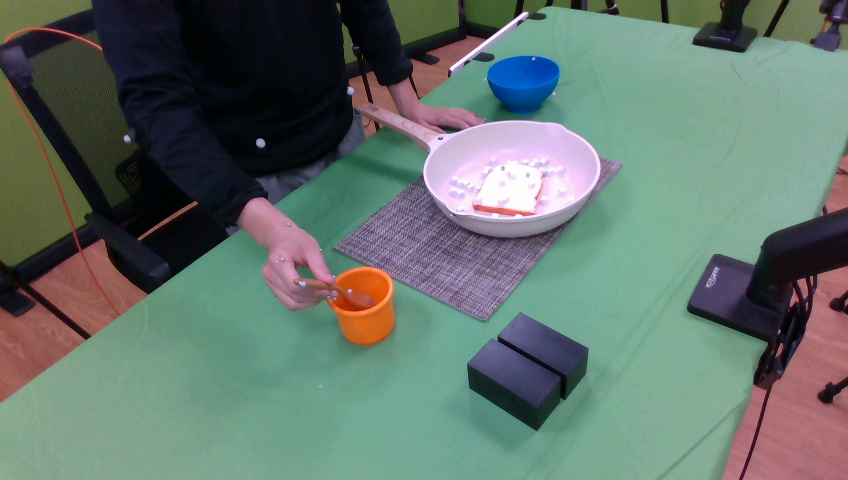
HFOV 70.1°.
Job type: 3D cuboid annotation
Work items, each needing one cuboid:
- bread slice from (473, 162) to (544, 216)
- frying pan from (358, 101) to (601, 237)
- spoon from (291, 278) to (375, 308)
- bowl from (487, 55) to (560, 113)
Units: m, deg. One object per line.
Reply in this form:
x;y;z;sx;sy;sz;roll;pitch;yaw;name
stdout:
0.150;-0.088;1.042;0.106;0.018;0.134;7;45;16;bread slice
0.067;-0.153;1.067;0.484;0.103;0.308;32;52;26;frying pan
-0.114;0.064;0.767;0.041;0.195;0.021;27;86;24;spoon
0.208;-0.319;1.266;0.151;0.077;0.150;-4;41;4;bowl
